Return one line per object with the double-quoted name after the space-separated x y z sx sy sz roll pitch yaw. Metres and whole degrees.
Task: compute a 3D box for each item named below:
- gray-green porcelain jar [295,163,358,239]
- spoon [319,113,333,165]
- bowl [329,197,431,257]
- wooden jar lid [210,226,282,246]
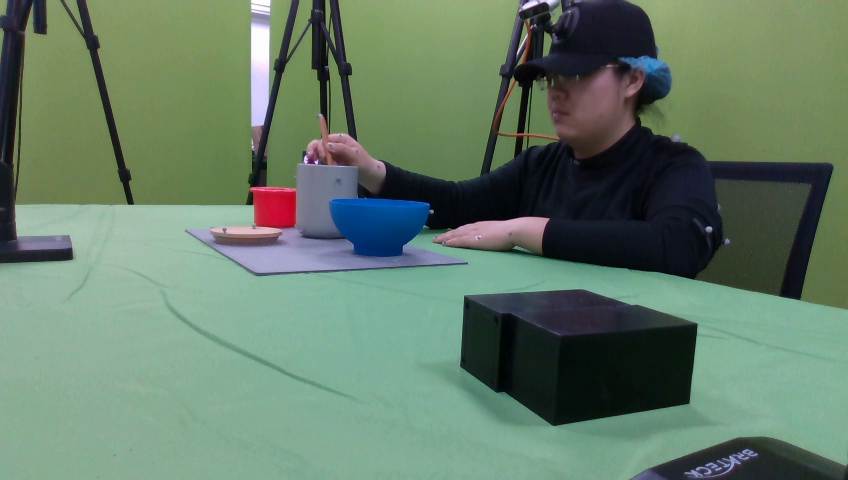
-0.170 -0.069 1.054 0.106 0.126 0.106 3 7 0 "gray-green porcelain jar"
-0.167 -0.127 1.060 0.021 0.193 0.042 -2 1 42 "spoon"
-0.067 -0.019 0.894 0.151 0.077 0.151 3 7 0 "bowl"
-0.279 -0.007 0.951 0.108 0.020 0.108 2 8 0 "wooden jar lid"
